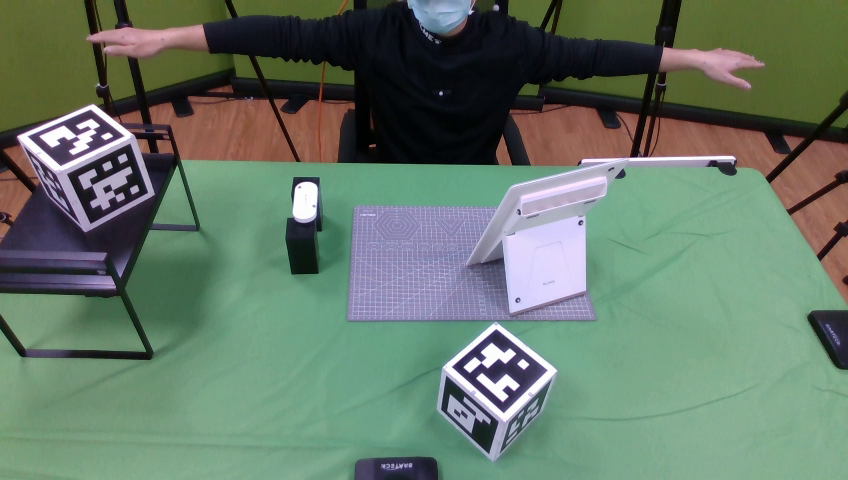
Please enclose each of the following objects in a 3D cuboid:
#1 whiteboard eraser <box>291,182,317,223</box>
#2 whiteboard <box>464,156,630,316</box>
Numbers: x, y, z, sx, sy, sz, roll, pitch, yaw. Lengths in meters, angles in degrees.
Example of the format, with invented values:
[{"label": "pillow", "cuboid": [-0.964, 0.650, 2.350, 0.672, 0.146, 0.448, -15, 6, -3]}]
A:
[{"label": "whiteboard eraser", "cuboid": [-0.219, -0.070, 1.111, 0.041, 0.019, 0.100, -2, 45, -3]}, {"label": "whiteboard", "cuboid": [0.224, 0.014, 1.041, 0.217, 0.306, 0.143, -14, 68, -17]}]
